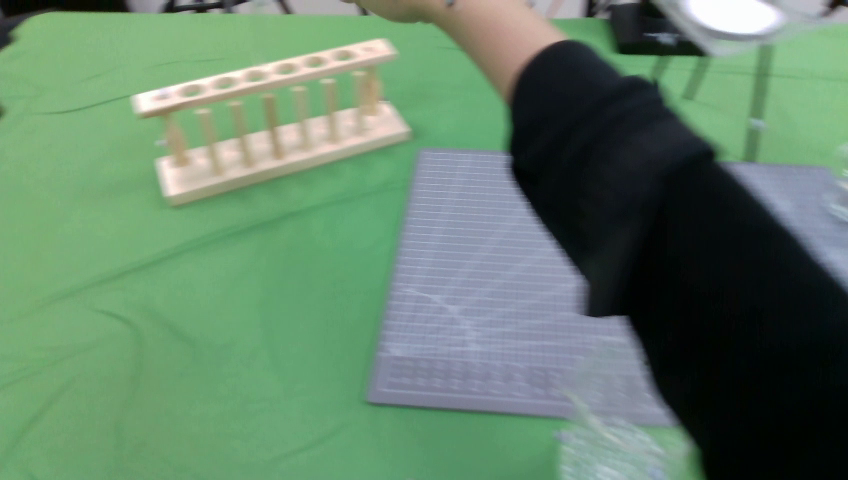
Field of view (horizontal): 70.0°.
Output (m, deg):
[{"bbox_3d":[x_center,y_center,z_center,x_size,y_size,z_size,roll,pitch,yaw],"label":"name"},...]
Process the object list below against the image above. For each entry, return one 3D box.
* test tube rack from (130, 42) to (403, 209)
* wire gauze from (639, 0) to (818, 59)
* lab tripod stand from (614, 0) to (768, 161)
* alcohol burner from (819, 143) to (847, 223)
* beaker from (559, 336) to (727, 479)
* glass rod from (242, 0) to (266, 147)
[{"bbox_3d":[-0.145,-0.117,0.597,0.243,0.086,0.066,-19,48,-18],"label":"test tube rack"},{"bbox_3d":[0.268,-0.208,0.554,0.122,0.011,0.123,-15,47,-15],"label":"wire gauze"},{"bbox_3d":[0.274,-0.161,0.603,0.148,0.132,0.147,1,45,-1],"label":"lab tripod stand"},{"bbox_3d":[0.394,-0.069,0.518,0.078,0.120,0.077,0,47,0],"label":"alcohol burner"},{"bbox_3d":[0.118,0.115,0.354,0.084,0.101,0.073,5,45,7],"label":"beaker"},{"bbox_3d":[-0.155,-0.165,0.551,0.008,0.201,0.008,3,46,-3],"label":"glass rod"}]
